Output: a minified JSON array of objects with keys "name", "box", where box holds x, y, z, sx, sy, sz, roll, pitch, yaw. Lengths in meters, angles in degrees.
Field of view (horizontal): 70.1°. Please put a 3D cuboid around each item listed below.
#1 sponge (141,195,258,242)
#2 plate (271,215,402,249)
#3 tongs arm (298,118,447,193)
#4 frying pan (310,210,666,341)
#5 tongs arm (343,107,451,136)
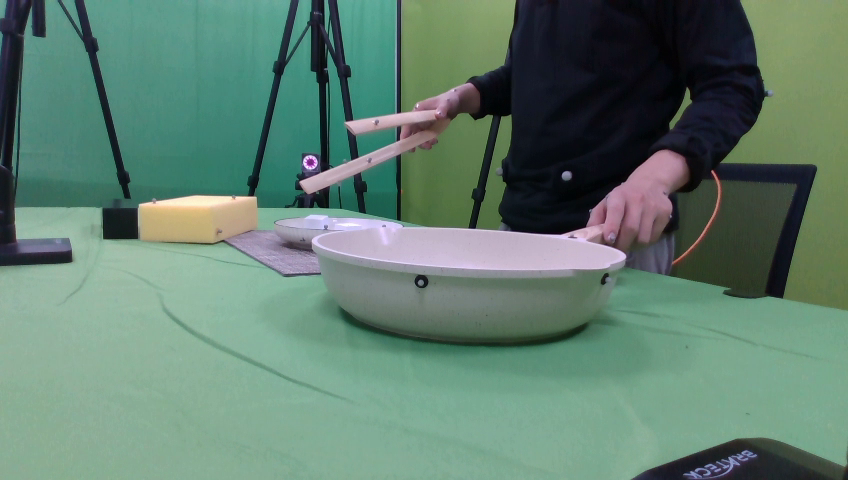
[{"name":"sponge","box":[-0.380,-0.040,1.047,0.118,0.061,0.207,1,8,3]},{"name":"plate","box":[-0.141,-0.011,0.978,0.208,0.039,0.207,2,7,0]},{"name":"tongs arm","box":[-0.076,-0.162,1.080,0.050,0.026,0.386,-46,-8,39]},{"name":"frying pan","box":[0.120,0.011,0.643,0.490,0.102,0.305,-13,16,-36]},{"name":"tongs arm","box":[-0.031,-0.204,1.036,0.027,0.028,0.389,46,27,7]}]
